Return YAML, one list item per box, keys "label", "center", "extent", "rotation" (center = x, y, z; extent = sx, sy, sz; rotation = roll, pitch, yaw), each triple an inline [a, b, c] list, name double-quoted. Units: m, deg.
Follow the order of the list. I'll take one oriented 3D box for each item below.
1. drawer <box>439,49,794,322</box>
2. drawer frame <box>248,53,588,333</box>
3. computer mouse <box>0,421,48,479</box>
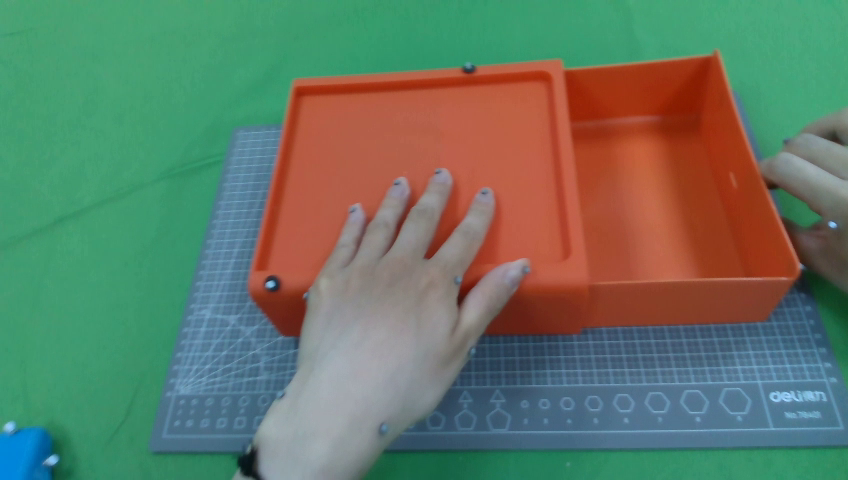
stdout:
- label: "drawer"
  center: [0.118, -0.040, 0.433]
  extent: [0.211, 0.074, 0.192]
  rotation: [-2, 58, 7]
- label: "drawer frame"
  center: [0.004, -0.035, 0.444]
  extent: [0.213, 0.083, 0.200]
  rotation: [-3, 57, 8]
- label: "computer mouse"
  center: [-0.276, 0.171, 0.380]
  extent: [0.063, 0.041, 0.116]
  rotation: [-19, 52, -2]
